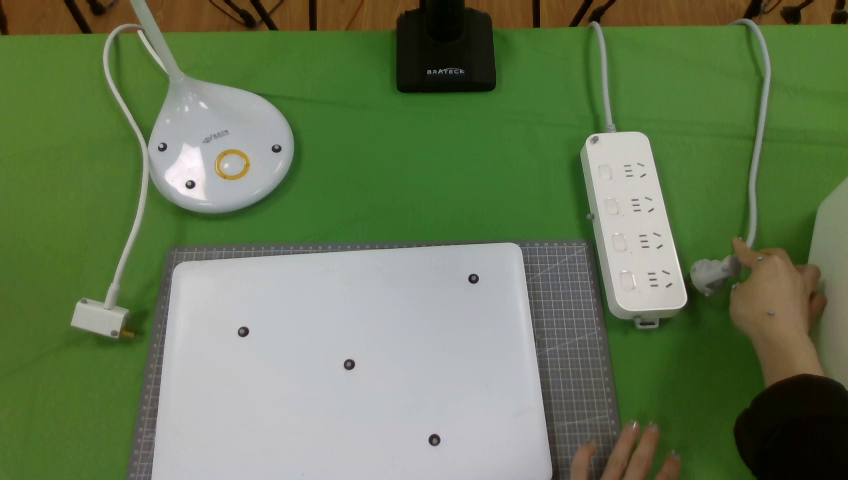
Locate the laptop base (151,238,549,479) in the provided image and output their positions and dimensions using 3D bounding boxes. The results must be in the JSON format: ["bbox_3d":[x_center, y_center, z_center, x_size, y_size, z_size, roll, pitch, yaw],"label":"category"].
[{"bbox_3d":[-0.071,0.116,0.582,0.354,0.023,0.233,-3,69,-2],"label":"laptop base"}]

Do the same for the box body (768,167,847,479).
[{"bbox_3d":[0.468,0.098,0.511,0.253,0.161,0.362,20,67,9],"label":"box body"}]

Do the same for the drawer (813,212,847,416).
[{"bbox_3d":[0.481,0.082,0.549,0.194,0.074,0.211,19,70,8],"label":"drawer"}]

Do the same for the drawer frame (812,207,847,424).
[{"bbox_3d":[0.477,0.087,0.550,0.201,0.083,0.212,19,62,7],"label":"drawer frame"}]

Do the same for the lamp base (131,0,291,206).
[{"bbox_3d":[-0.239,-0.150,0.615,0.160,0.181,0.178,-38,68,-16],"label":"lamp base"}]

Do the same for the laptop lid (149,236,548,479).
[{"bbox_3d":[-0.071,0.113,0.570,0.357,0.013,0.240,-2,68,-1],"label":"laptop lid"}]

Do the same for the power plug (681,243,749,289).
[{"bbox_3d":[0.294,0.029,0.613,0.073,0.052,0.035,-6,74,-32],"label":"power plug"}]

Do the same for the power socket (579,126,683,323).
[{"bbox_3d":[0.214,-0.025,0.639,0.072,0.033,0.225,-2,65,-2],"label":"power socket"}]

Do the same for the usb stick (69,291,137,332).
[{"bbox_3d":[-0.310,0.072,0.592,0.059,0.021,0.027,23,94,-15],"label":"usb stick"}]
